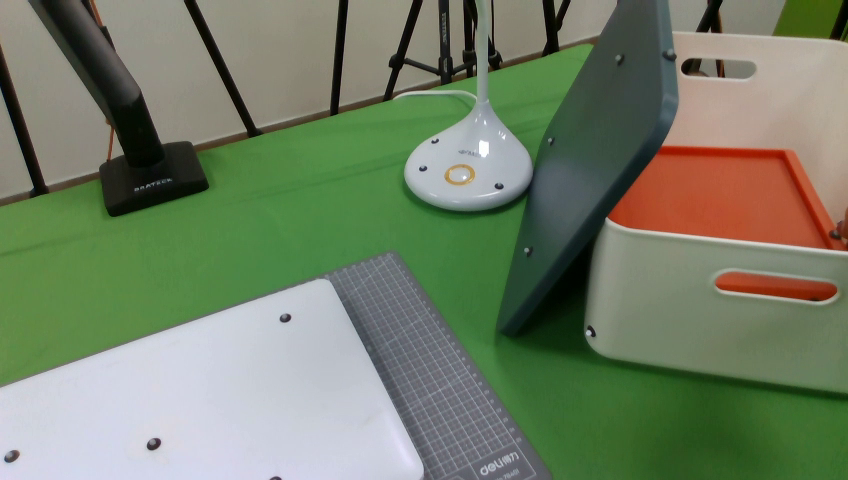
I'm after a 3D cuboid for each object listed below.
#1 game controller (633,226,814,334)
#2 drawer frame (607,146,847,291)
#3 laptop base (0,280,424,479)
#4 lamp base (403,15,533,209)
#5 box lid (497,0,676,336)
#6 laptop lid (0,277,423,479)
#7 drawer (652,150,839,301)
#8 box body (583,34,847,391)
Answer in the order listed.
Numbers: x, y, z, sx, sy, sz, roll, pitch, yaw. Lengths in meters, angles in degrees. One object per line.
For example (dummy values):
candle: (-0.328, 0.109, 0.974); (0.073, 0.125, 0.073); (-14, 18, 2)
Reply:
game controller: (0.271, 0.034, 0.551); (0.155, 0.052, 0.096); (0, 69, 8)
drawer frame: (0.270, -0.002, 0.579); (0.201, 0.083, 0.212); (3, 39, 8)
laptop base: (-0.205, 0.164, 0.475); (0.355, 0.023, 0.233); (-19, 46, -18)
lamp base: (0.052, -0.156, 0.709); (0.160, 0.182, 0.178); (7, 39, 12)
box lid: (0.155, -0.102, 0.588); (0.015, 0.264, 0.369); (24, 43, -2)
laptop lid: (-0.204, 0.157, 0.465); (0.357, 0.013, 0.239); (-18, 45, -16)
drawer: (0.276, -0.004, 0.574); (0.194, 0.074, 0.210); (4, 41, 9)
box body: (0.291, -0.050, 0.582); (0.253, 0.162, 0.361); (6, 41, 12)
